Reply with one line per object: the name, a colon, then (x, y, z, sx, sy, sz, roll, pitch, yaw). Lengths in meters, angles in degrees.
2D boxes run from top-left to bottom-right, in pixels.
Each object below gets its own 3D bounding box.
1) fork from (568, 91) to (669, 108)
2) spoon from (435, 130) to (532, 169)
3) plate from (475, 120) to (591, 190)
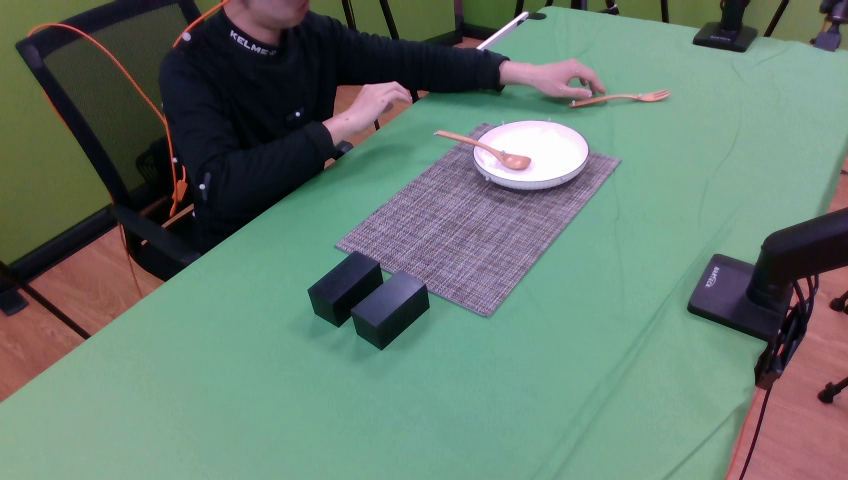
fork: (0.402, -0.290, 1.252, 0.207, 0.019, 0.028, -4, 48, 1)
spoon: (0.107, -0.171, 1.112, 0.193, 0.022, 0.041, 25, 53, 15)
plate: (0.196, -0.151, 1.099, 0.207, 0.039, 0.206, -4, 40, 4)
